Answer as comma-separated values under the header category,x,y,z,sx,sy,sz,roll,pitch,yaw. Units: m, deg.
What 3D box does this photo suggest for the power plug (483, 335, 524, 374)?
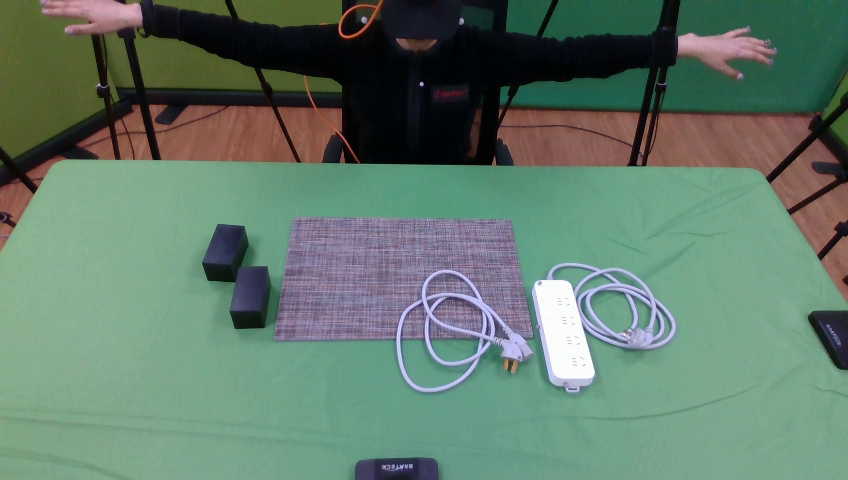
category,x,y,z,sx,sy,sz,roll,pitch,yaw
power plug,0.132,0.193,1.018,0.072,0.035,0.052,7,68,25

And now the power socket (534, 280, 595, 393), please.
category,x,y,z,sx,sy,sz,roll,pitch,yaw
power socket,0.241,0.158,1.054,0.072,0.033,0.225,1,46,-3
